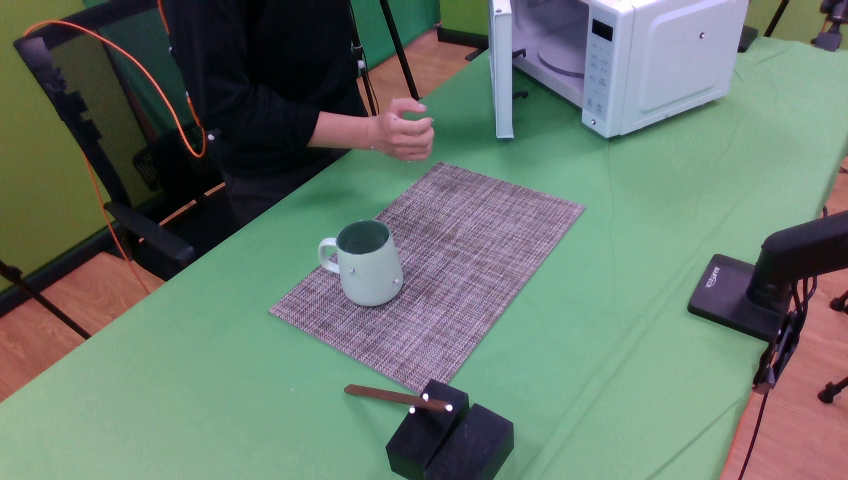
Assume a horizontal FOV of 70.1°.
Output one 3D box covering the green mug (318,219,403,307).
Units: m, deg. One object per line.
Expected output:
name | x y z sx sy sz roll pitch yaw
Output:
green mug | -0.096 0.032 0.876 0.125 0.105 0.092 8 43 17

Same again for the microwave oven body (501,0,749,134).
microwave oven body | 0.382 -0.445 1.246 0.327 0.261 0.437 -22 42 -16

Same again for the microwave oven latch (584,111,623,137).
microwave oven latch | 0.337 -0.222 1.142 0.030 0.029 0.078 -21 42 -14

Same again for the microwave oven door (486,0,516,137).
microwave oven door | 0.153 -0.404 1.223 0.039 0.245 0.354 -4 41 6

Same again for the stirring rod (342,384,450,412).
stirring rod | -0.038 0.186 0.714 0.175 0.006 0.014 -3 22 43
